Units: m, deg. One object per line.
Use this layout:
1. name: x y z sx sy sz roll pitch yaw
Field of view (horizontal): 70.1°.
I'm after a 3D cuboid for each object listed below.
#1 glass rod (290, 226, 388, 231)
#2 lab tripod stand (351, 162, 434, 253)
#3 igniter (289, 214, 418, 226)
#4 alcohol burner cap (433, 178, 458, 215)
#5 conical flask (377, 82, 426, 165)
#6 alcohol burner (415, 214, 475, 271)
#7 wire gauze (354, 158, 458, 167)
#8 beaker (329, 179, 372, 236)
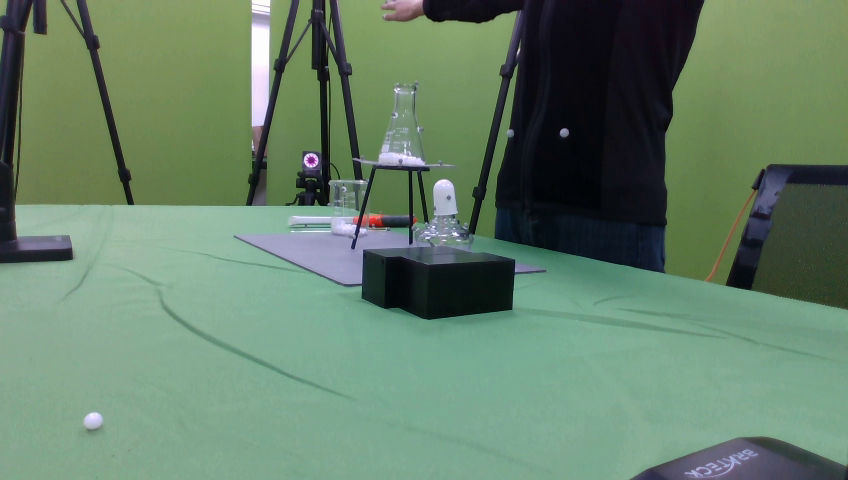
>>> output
1. glass rod: -0.161 -0.023 1.177 0.201 0.008 0.008 -2 8 -28
2. lab tripod stand: -0.034 -0.052 0.933 0.148 0.131 0.148 4 7 0
3. igniter: -0.141 -0.042 1.258 0.278 0.025 0.057 -1 -1 -30
4. alcohol burner cap: 0.026 -0.056 0.777 0.034 0.048 0.034 -6 9 1
5. conical flask: -0.032 -0.175 0.918 0.075 0.122 0.075 3 8 0
6. alcohol burner: 0.027 -0.020 0.783 0.078 0.119 0.078 1 8 0
7. wire gauze: -0.030 -0.117 0.927 0.122 0.011 0.124 0 5 -36
8. beaker: -0.137 -0.060 1.101 0.084 0.100 0.074 4 7 20
